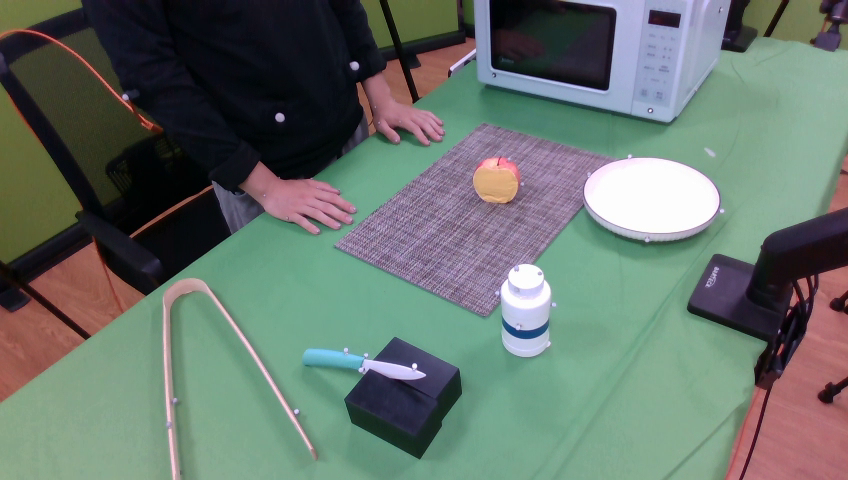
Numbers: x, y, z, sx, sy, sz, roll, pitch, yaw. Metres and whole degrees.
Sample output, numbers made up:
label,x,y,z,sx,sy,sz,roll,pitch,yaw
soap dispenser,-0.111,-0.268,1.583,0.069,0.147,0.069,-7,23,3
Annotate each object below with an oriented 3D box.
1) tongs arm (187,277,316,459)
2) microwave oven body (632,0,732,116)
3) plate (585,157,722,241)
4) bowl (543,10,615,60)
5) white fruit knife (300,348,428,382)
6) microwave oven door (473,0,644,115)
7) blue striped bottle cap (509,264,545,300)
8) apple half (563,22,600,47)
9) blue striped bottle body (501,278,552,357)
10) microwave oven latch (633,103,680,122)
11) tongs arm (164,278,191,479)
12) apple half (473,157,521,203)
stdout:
label,x,y,z,sx,sy,sz,roll,pitch,yaw
tongs arm,-0.241,0.154,0.815,0.028,0.028,0.384,-31,46,-21
microwave oven body,0.377,-0.462,1.267,0.438,0.261,0.327,21,48,30
plate,0.367,-0.063,0.979,0.207,0.039,0.206,-4,41,4
bowl,0.335,-0.439,1.306,0.151,0.077,0.151,-8,30,5
white fruit knife,-0.079,0.154,0.748,0.206,0.027,0.016,1,20,34
microwave oven door,0.257,-0.396,1.199,0.353,0.245,0.039,21,48,29
blue striped bottle cap,0.125,0.051,0.735,0.044,0.021,0.044,-5,39,5
apple half,0.334,-0.446,1.299,0.081,0.033,0.081,-15,36,12
blue striped bottle body,0.130,0.088,0.769,0.063,0.121,0.063,-4,41,4
microwave oven latch,0.444,-0.249,1.157,0.078,0.029,0.030,21,48,30
tongs arm,-0.313,0.182,0.789,0.051,0.026,0.381,-19,41,-14
apple half,0.128,-0.107,1.030,0.080,0.075,0.053,4,38,19
